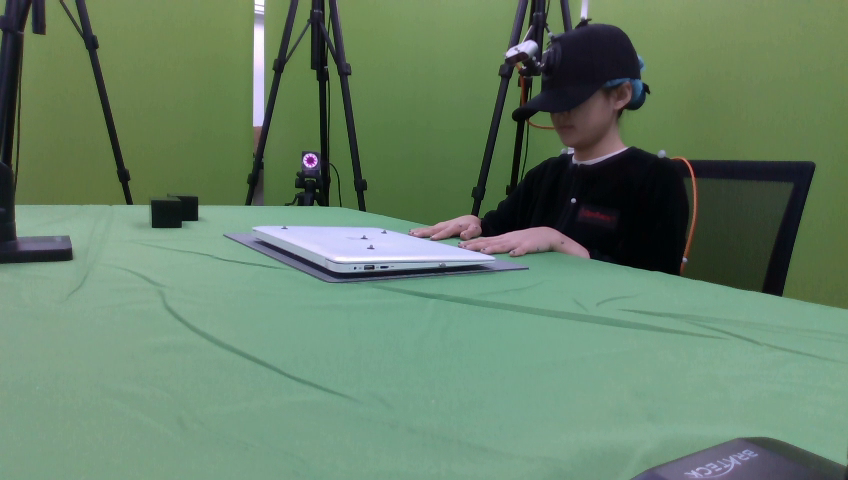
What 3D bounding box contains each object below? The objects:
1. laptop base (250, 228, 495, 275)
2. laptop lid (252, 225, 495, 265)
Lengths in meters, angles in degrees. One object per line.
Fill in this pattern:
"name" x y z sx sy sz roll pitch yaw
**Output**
"laptop base" -0.093 0.015 0.884 0.237 0.023 0.352 3 6 -32
"laptop lid" -0.090 0.004 0.883 0.243 0.013 0.355 1 7 -31
